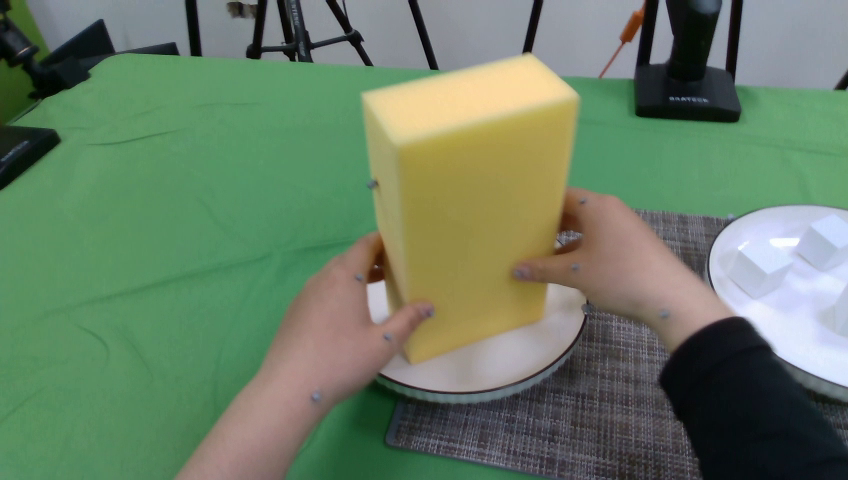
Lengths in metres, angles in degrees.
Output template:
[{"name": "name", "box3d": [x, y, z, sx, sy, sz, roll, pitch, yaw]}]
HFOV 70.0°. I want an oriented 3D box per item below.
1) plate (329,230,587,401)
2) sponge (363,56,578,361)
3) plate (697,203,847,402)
[{"name": "plate", "box3d": [0.027, 0.050, 0.503, 0.209, 0.038, 0.207, -2, 41, 2]}, {"name": "sponge", "box3d": [0.028, -0.012, 0.431, 0.118, 0.209, 0.060, -16, 47, -15]}, {"name": "plate", "box3d": [0.325, 0.049, 0.481, 0.207, 0.039, 0.205, -2, 42, 2]}]
